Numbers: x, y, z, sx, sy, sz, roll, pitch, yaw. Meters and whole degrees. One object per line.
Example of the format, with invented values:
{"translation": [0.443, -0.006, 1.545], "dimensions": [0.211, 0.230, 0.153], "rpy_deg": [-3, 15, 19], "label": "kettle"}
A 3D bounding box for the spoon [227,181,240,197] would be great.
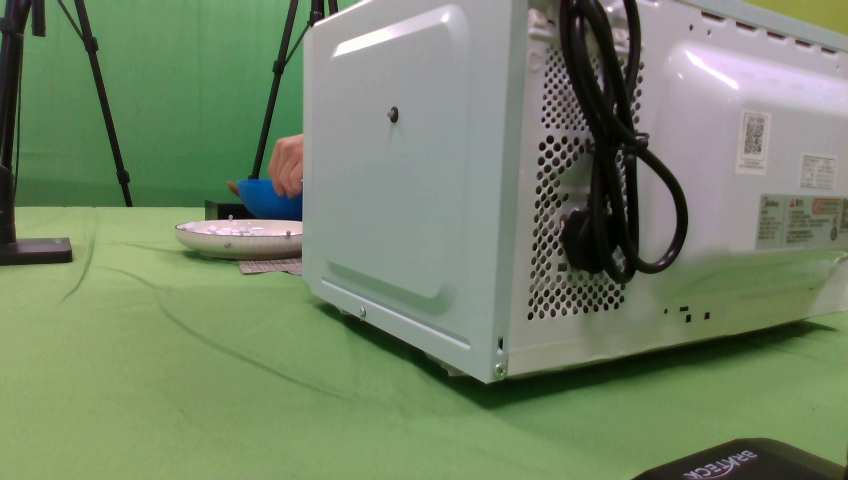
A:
{"translation": [-0.315, -0.074, 1.235], "dimensions": [0.195, 0.021, 0.041], "rpy_deg": [24, -10, -37], "label": "spoon"}

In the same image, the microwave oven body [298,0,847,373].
{"translation": [0.151, -0.055, 0.542], "dimensions": [0.444, 0.260, 0.324], "rpy_deg": [-1, 7, -33], "label": "microwave oven body"}

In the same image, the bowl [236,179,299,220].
{"translation": [-0.251, -0.064, 1.062], "dimensions": [0.151, 0.077, 0.151], "rpy_deg": [3, 9, 0], "label": "bowl"}

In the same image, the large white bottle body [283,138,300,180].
{"translation": [-0.265, -0.143, 1.424], "dimensions": [0.131, 0.184, 0.130], "rpy_deg": [2, 7, 0], "label": "large white bottle body"}

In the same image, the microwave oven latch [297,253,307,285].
{"translation": [-0.082, 0.027, 0.582], "dimensions": [0.079, 0.029, 0.030], "rpy_deg": [-1, 7, -32], "label": "microwave oven latch"}

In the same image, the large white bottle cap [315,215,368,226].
{"translation": [-0.177, -0.042, 1.309], "dimensions": [0.115, 0.018, 0.115], "rpy_deg": [2, 6, 0], "label": "large white bottle cap"}

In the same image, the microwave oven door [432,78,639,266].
{"translation": [0.145, -0.106, 0.904], "dimensions": [0.039, 0.243, 0.354], "rpy_deg": [-4, 10, -40], "label": "microwave oven door"}

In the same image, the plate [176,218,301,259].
{"translation": [-0.248, -0.003, 0.877], "dimensions": [0.209, 0.038, 0.209], "rpy_deg": [1, 8, 0], "label": "plate"}
